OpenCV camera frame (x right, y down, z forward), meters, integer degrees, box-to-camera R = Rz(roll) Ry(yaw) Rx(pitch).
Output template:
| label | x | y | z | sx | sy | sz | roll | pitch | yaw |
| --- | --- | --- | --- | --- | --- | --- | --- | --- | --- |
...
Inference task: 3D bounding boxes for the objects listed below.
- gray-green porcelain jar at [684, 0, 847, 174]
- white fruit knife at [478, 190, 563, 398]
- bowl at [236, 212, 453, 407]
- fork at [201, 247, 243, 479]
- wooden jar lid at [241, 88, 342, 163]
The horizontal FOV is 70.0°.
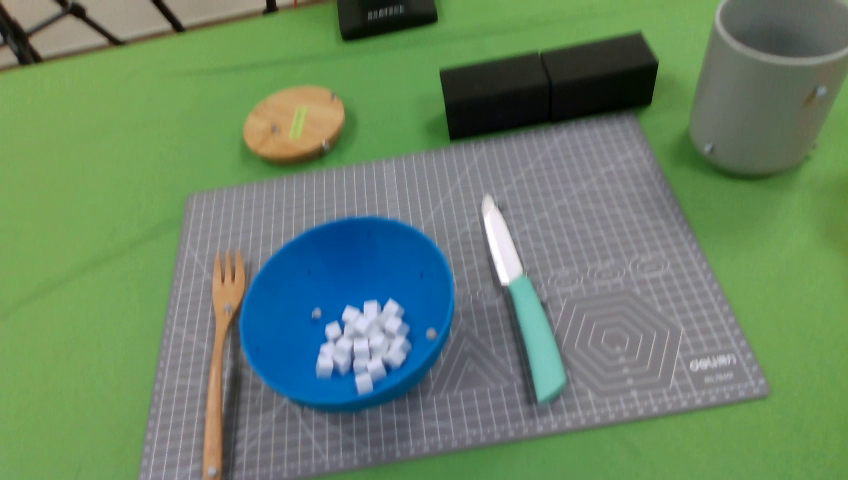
| label | x | y | z | sx | sy | sz | roll | pitch | yaw |
| --- | --- | --- | --- | --- | --- | --- | --- | --- | --- |
| gray-green porcelain jar | 0.281 | -0.128 | 0.507 | 0.106 | 0.128 | 0.105 | -5 | 52 | 7 |
| white fruit knife | 0.072 | 0.031 | 0.486 | 0.027 | 0.016 | 0.205 | -4 | 50 | -11 |
| bowl | -0.050 | 0.061 | 0.444 | 0.151 | 0.077 | 0.150 | -5 | 51 | 6 |
| fork | -0.162 | 0.088 | 0.480 | 0.028 | 0.019 | 0.205 | -7 | 49 | -4 |
| wooden jar lid | -0.139 | -0.121 | 0.643 | 0.108 | 0.021 | 0.107 | -4 | 52 | 5 |
